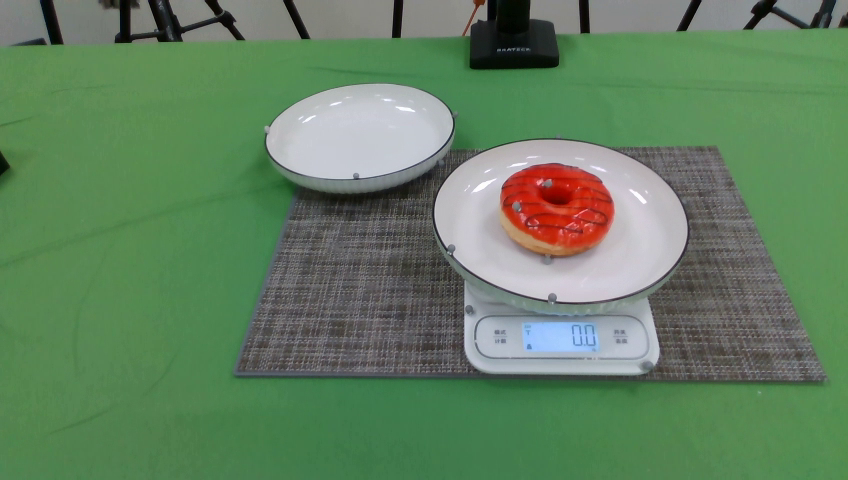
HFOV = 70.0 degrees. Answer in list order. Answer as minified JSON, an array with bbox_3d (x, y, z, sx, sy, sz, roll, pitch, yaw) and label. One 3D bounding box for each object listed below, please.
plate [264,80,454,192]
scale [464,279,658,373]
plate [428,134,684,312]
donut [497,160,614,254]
[{"bbox_3d":[-0.070,-0.115,0.675,0.209,0.038,0.207,-3,42,3],"label":"plate"},{"bbox_3d":[0.109,0.024,0.521,0.148,0.032,0.199,0,45,5],"label":"scale"},{"bbox_3d":[0.108,-0.016,0.514,0.207,0.039,0.205,-2,44,2],"label":"plate"},{"bbox_3d":[0.110,-0.028,0.510,0.099,0.048,0.098,0,45,0],"label":"donut"}]
